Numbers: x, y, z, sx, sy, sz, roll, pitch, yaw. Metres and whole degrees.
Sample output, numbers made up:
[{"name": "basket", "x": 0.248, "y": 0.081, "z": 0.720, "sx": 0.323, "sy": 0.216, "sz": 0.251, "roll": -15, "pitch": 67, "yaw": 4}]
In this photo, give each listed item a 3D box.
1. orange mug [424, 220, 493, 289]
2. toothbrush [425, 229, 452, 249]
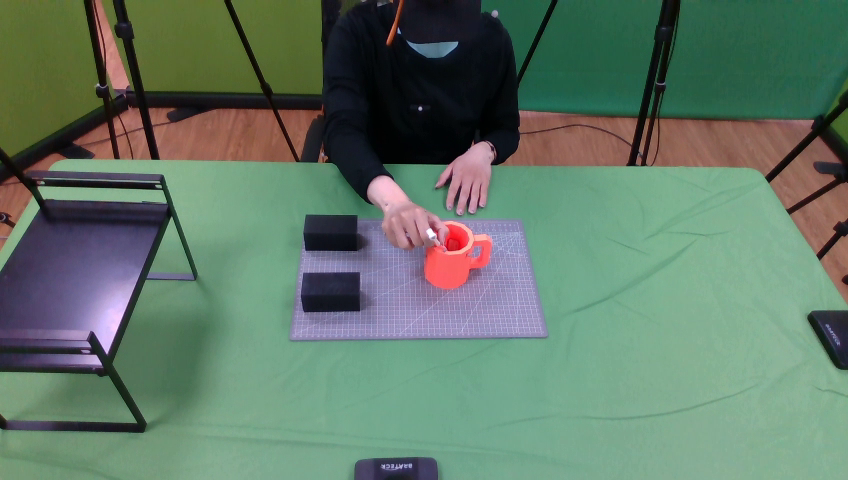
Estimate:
[{"name": "orange mug", "x": 0.063, "y": 0.023, "z": 1.119, "sx": 0.126, "sy": 0.101, "sz": 0.083, "roll": -9, "pitch": 47, "yaw": -7}, {"name": "toothbrush", "x": 0.028, "y": 0.000, "z": 1.071, "sx": 0.016, "sy": 0.182, "sz": 0.014, "roll": 35, "pitch": 92, "yaw": 15}]
